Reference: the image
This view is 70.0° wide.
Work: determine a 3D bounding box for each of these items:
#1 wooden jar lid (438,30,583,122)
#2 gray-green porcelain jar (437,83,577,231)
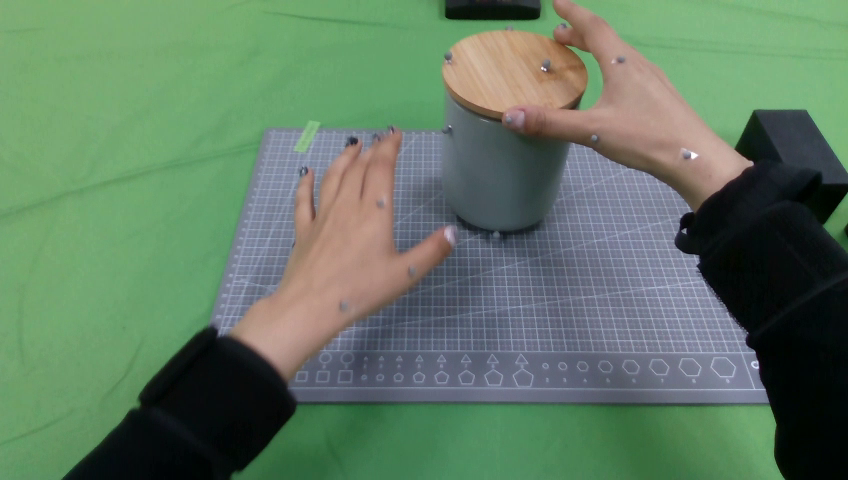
[{"bbox_3d":[0.064,-0.121,0.455,0.108,0.021,0.107,1,49,-1],"label":"wooden jar lid"},{"bbox_3d":[0.064,-0.079,0.505,0.106,0.127,0.105,1,50,0],"label":"gray-green porcelain jar"}]
